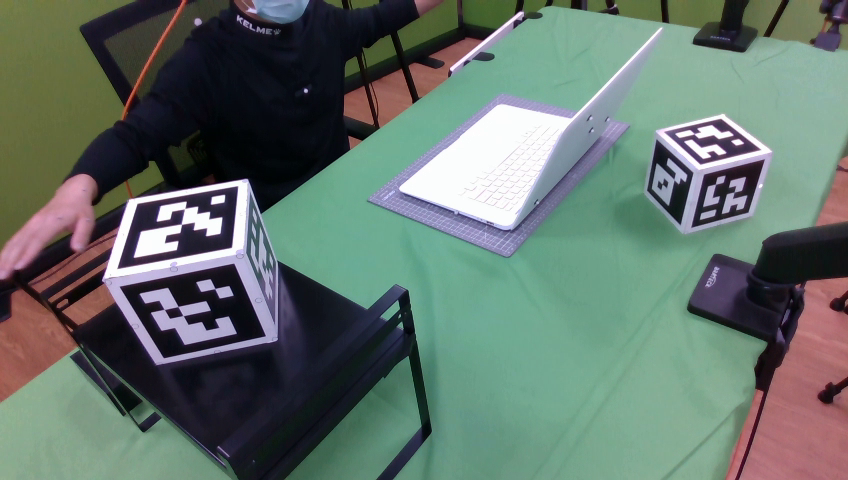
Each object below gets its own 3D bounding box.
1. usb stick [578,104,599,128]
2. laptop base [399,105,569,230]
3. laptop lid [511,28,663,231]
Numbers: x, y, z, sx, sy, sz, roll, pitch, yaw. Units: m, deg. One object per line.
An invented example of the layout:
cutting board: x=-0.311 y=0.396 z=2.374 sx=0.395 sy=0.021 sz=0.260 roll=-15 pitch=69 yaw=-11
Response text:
usb stick: x=0.322 y=-0.242 z=1.189 sx=0.021 sy=0.027 sz=0.059 roll=24 pitch=53 yaw=29
laptop base: x=0.149 y=-0.147 z=1.123 sx=0.233 sy=0.023 sz=0.355 roll=20 pitch=47 yaw=32
laptop lid: x=0.265 y=-0.179 z=0.972 sx=0.013 sy=0.242 sz=0.357 roll=36 pitch=53 yaw=14
